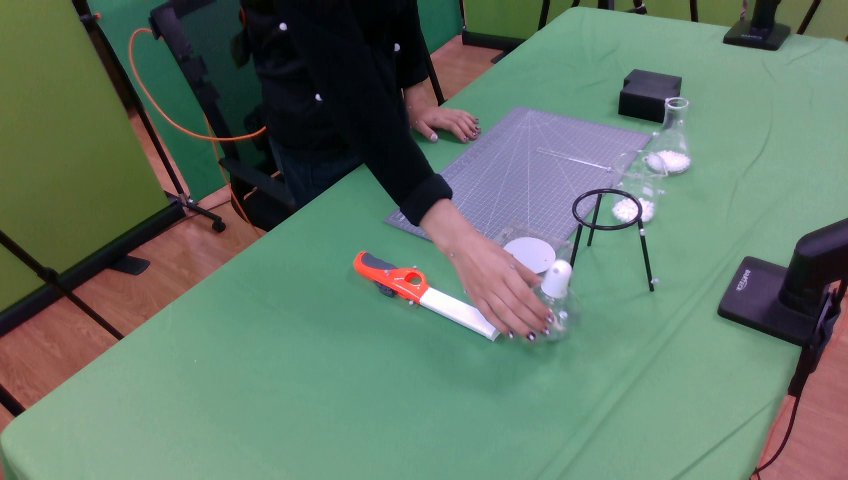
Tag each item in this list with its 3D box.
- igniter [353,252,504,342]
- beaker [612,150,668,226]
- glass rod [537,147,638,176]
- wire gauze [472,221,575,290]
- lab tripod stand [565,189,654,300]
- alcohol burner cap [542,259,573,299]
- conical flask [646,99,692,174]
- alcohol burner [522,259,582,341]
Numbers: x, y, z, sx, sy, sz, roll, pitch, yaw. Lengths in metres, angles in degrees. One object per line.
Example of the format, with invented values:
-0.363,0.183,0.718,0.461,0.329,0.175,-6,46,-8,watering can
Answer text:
-0.005,0.078,0.889,0.274,0.025,0.057,23,59,33,igniter
0.337,-0.079,0.953,0.083,0.101,0.074,25,51,33,beaker
0.294,-0.145,1.104,0.198,0.008,0.008,22,50,31,glass rod
0.158,0.024,0.933,0.120,0.011,0.125,21,49,31,wire gauze
0.251,0.003,0.845,0.148,0.132,0.147,-7,39,6,lab tripod stand
0.166,0.045,0.739,0.034,0.048,0.033,4,42,-3,alcohol burner cap
0.426,-0.180,1.037,0.075,0.122,0.075,-5,40,5,conical flask
0.164,0.071,0.765,0.078,0.119,0.077,0,41,0,alcohol burner
